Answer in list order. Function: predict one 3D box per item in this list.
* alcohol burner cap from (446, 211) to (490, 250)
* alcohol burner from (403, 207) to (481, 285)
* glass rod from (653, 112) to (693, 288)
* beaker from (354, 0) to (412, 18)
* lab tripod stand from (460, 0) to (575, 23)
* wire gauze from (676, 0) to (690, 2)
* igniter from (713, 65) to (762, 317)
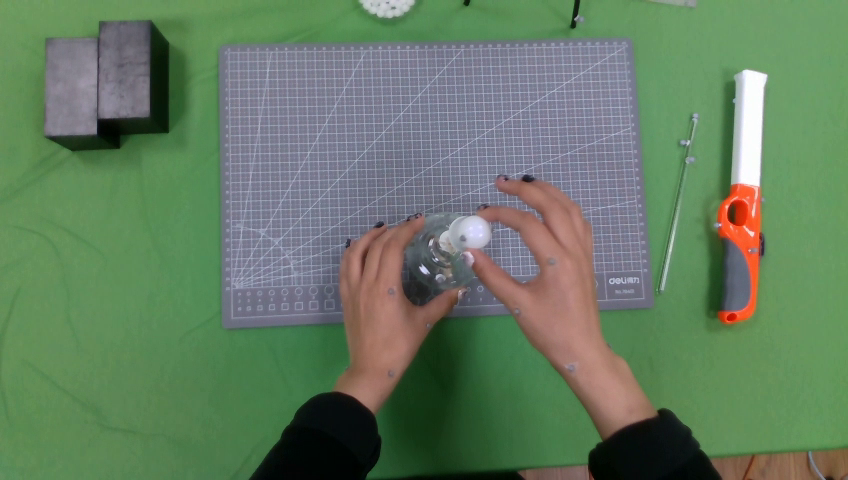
[{"bbox_3d":[0.038,-0.008,0.498,0.034,0.048,0.034,0,88,-8],"label":"alcohol burner cap"},{"bbox_3d":[0.019,0.004,0.583,0.078,0.119,0.077,1,81,-4],"label":"alcohol burner"},{"bbox_3d":[0.271,-0.045,0.660,0.008,0.008,0.199,14,84,-2],"label":"glass rod"},{"bbox_3d":[-0.041,-0.279,0.619,0.084,0.100,0.074,43,84,1],"label":"beaker"},{"bbox_3d":[0.110,-0.300,0.613,0.148,0.132,0.148,0,82,-2],"label":"lab tripod stand"},{"bbox_3d":[0.246,-0.335,0.688,0.125,0.011,0.121,5,83,-1],"label":"wire gauze"},{"bbox_3d":[0.341,-0.054,0.655,0.057,0.025,0.276,8,84,-13],"label":"igniter"}]
